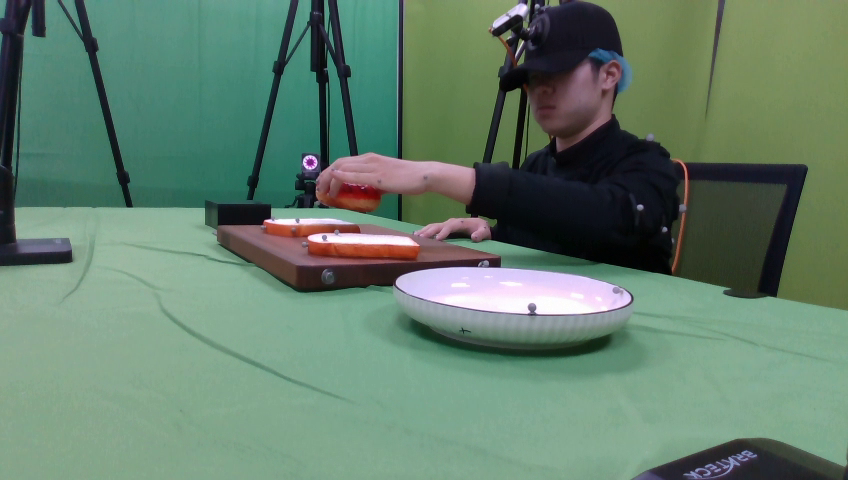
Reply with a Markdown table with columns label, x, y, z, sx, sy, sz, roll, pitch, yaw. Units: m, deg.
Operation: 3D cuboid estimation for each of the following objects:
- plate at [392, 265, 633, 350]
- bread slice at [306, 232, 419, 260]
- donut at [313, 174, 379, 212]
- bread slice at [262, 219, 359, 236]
| label | x | y | z | sx | sy | sz | roll | pitch | yaw |
| --- | --- | --- | --- | --- | --- | --- | --- | --- | --- |
| plate | 0.074 | 0.057 | 0.533 | 0.209 | 0.038 | 0.209 | 3 | 7 | 0 |
| bread slice | -0.077 | 0.006 | 0.747 | 0.135 | 0.018 | 0.106 | 3 | 7 | -12 |
| donut | -0.116 | -0.070 | 0.898 | 0.099 | 0.048 | 0.099 | 11 | 12 | -2 |
| bread slice | -0.179 | -0.021 | 0.931 | 0.132 | 0.019 | 0.104 | -1 | 7 | -35 |
